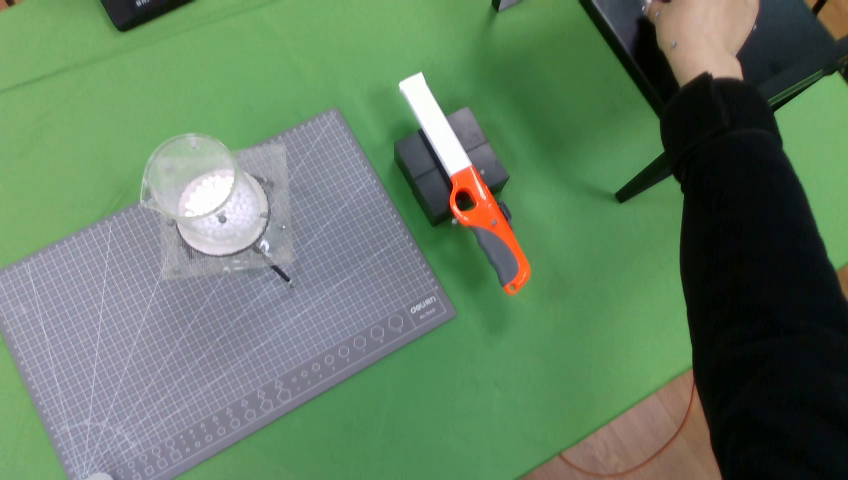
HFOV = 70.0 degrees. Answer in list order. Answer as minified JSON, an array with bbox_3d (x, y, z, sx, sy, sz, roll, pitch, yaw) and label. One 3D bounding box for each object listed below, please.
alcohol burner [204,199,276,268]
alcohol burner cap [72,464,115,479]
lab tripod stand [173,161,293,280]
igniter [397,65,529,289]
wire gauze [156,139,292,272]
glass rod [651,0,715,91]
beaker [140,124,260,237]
[{"bbox_3d":[-0.201,-0.010,0.650,0.078,0.119,0.077,1,80,-3],"label":"alcohol burner"},{"bbox_3d":[-0.346,0.251,0.624,0.034,0.048,0.033,1,78,-5],"label":"alcohol burner cap"},{"bbox_3d":[-0.198,-0.024,0.643,0.148,0.132,0.147,1,77,-2],"label":"lab tripod stand"},{"bbox_3d":[0.044,-0.074,0.679,0.057,0.025,0.275,-26,80,-6],"label":"igniter"},{"bbox_3d":[-0.191,-0.036,0.580,0.121,0.011,0.124,-6,76,-7],"label":"wire gauze"},{"bbox_3d":[0.232,-0.232,0.597,0.008,0.008,0.199,-27,82,-9],"label":"glass rod"},{"bbox_3d":[-0.191,-0.045,0.532,0.084,0.100,0.073,-29,79,-8],"label":"beaker"}]
